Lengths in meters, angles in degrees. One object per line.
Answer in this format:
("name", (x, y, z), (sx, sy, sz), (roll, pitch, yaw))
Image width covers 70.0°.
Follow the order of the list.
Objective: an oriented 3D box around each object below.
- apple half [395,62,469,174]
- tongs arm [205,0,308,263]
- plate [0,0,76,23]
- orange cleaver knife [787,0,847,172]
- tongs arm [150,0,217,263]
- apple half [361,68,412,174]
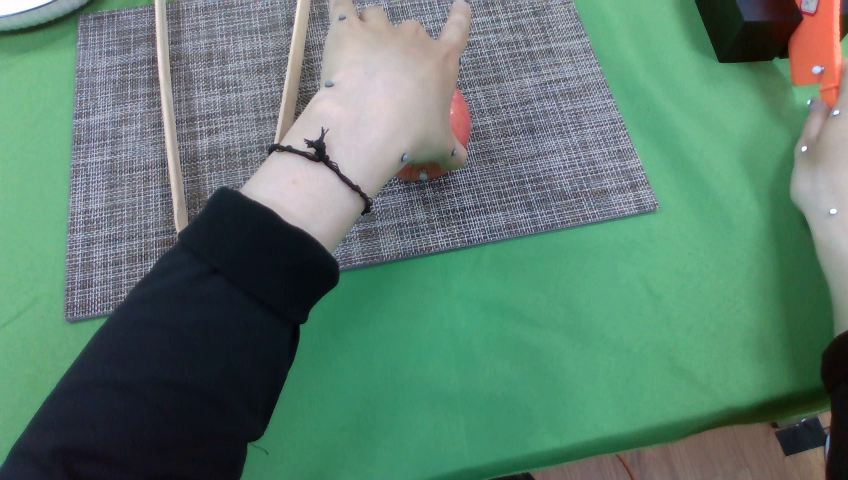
("apple half", (0.007, -0.091, 0.461), (0.053, 0.075, 0.080), (-8, 61, -8))
("tongs arm", (-0.130, -0.162, 0.517), (0.051, 0.027, 0.381), (0, 66, -1))
("plate", (-0.379, -0.277, 0.568), (0.209, 0.038, 0.207), (0, 65, 0))
("orange cleaver knife", (0.320, -0.161, 0.492), (0.012, 0.077, 0.211), (-8, 96, 1))
("tongs arm", (-0.214, -0.154, 0.514), (0.028, 0.028, 0.384), (-12, 66, -10))
("apple half", (-0.031, -0.084, 0.456), (0.033, 0.082, 0.080), (-8, 65, -8))
